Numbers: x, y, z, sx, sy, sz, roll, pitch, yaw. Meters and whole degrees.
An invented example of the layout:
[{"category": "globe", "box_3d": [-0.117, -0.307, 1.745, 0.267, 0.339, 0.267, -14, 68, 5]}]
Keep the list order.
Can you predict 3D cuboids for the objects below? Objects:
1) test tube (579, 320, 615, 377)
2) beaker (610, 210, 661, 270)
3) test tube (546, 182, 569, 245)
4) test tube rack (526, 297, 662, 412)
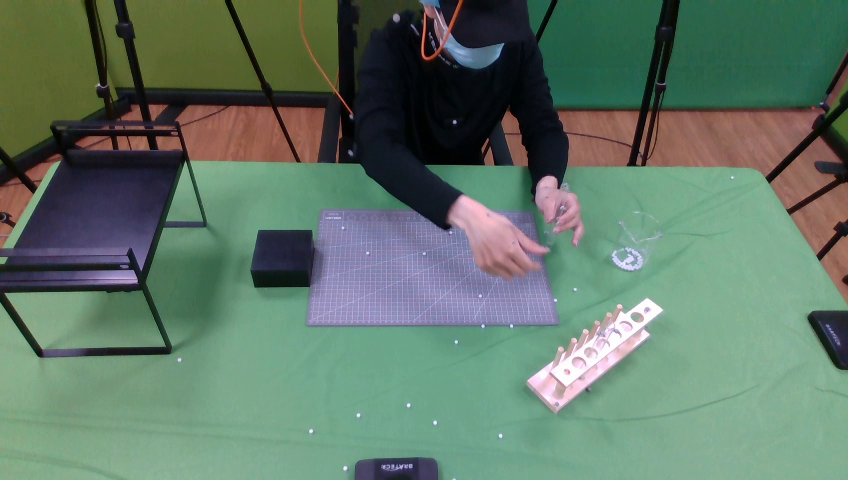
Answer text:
[{"category": "test tube", "box_3d": [0.265, 0.171, 0.942, 0.017, 0.151, 0.017, 4, 48, -4]}, {"category": "beaker", "box_3d": [0.404, 0.005, 1.169, 0.074, 0.101, 0.083, 20, 49, 15]}, {"category": "test tube", "box_3d": [0.243, -0.045, 1.111, 0.017, 0.151, 0.017, 2, 46, -2]}, {"category": "test tube rack", "box_3d": [0.284, 0.176, 1.007, 0.242, 0.085, 0.066, -29, 54, -27]}]
